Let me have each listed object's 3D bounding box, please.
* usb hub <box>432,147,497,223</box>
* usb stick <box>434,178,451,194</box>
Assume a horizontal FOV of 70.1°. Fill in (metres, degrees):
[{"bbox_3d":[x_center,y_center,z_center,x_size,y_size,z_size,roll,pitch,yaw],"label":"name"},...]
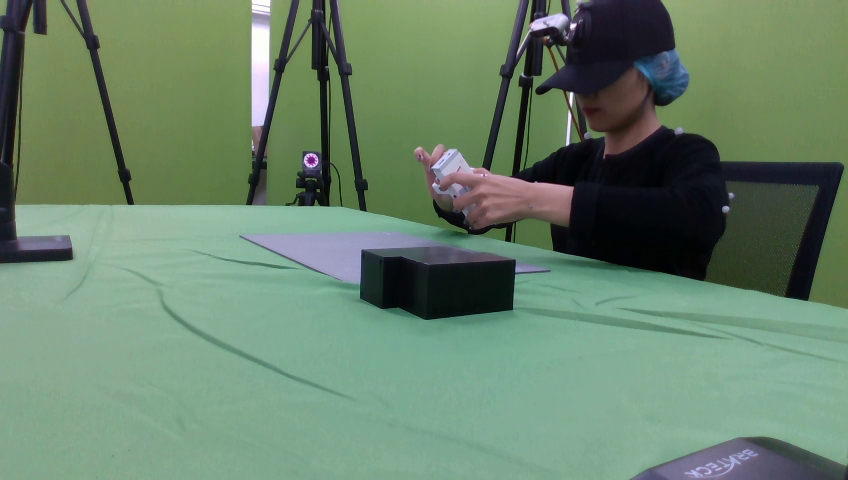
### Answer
[{"bbox_3d":[0.067,-0.088,0.979,0.049,0.125,0.025,-47,30,-16],"label":"usb hub"},{"bbox_3d":[0.045,-0.092,0.999,0.027,0.021,0.059,-45,28,-21],"label":"usb stick"}]
